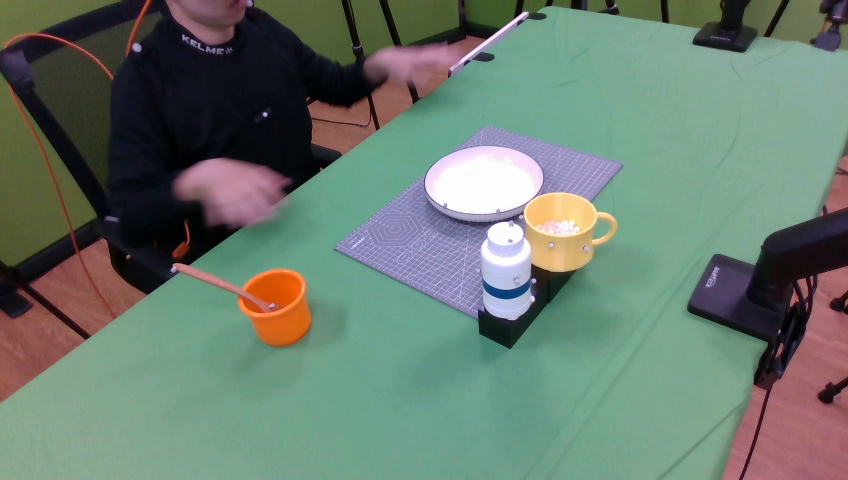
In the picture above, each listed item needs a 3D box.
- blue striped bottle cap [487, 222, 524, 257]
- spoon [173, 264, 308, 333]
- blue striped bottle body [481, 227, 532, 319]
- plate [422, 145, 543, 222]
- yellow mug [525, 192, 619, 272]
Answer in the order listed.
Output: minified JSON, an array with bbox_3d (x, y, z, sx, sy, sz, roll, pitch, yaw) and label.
[{"bbox_3d":[0.097,-0.001,0.722,0.044,0.021,0.044,-2,39,2],"label":"blue striped bottle cap"},{"bbox_3d":[-0.245,0.076,0.817,0.021,0.195,0.041,-40,29,33],"label":"spoon"},{"bbox_3d":[0.104,0.037,0.756,0.063,0.121,0.063,-4,40,4],"label":"blue striped bottle body"},{"bbox_3d":[0.101,-0.094,1.048,0.207,0.039,0.206,-4,41,4],"label":"plate"},{"bbox_3d":[0.206,-0.014,0.845,0.131,0.064,0.099,-4,41,2],"label":"yellow mug"}]
